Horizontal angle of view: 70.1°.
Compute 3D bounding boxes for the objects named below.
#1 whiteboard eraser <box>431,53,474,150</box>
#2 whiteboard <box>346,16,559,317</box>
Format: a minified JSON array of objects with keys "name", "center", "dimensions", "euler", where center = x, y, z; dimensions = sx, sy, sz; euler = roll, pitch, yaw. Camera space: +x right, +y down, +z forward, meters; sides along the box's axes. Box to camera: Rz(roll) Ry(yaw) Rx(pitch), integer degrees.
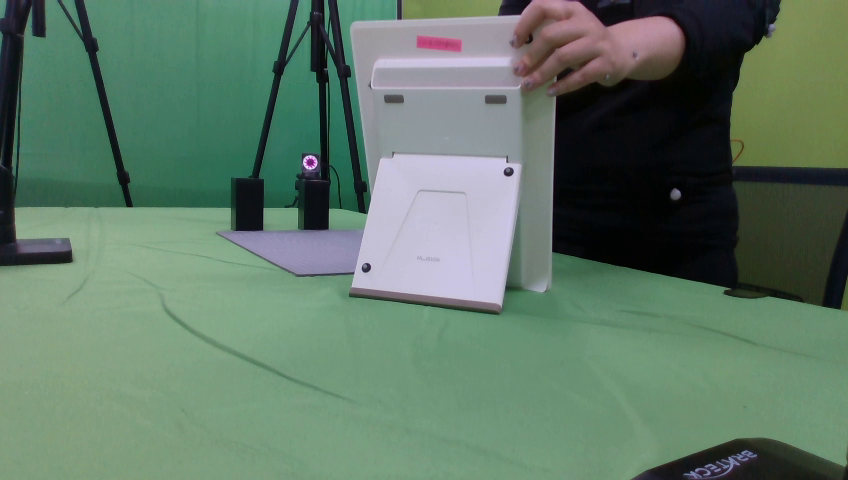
[{"name":"whiteboard eraser","center":[0.030,-0.147,0.645],"dimensions":[0.041,0.101,0.019],"euler":[12,28,17]},{"name":"whiteboard","center":[0.012,-0.055,0.609],"dimensions":[0.216,0.305,0.144],"euler":[5,27,19]}]
